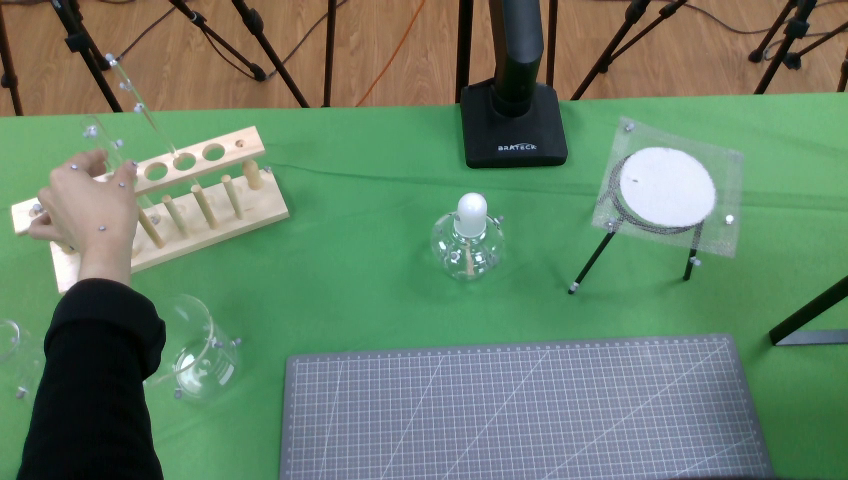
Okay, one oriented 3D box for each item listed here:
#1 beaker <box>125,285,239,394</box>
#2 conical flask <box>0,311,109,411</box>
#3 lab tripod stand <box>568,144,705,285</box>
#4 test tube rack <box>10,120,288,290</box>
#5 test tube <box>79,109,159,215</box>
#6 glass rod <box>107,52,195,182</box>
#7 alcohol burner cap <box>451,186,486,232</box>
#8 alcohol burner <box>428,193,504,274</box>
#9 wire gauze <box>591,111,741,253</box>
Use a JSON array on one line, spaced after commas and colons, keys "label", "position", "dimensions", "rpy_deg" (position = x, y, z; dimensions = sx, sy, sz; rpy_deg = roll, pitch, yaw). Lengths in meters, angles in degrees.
[{"label": "beaker", "position": [-0.216, 0.098, 0.553], "dimensions": [0.074, 0.101, 0.083], "rpy_deg": [11, 63, 6]}, {"label": "conical flask", "position": [-0.341, 0.102, 0.535], "dimensions": [0.075, 0.123, 0.074], "rpy_deg": [0, 62, 0]}, {"label": "lab tripod stand", "position": [0.214, -0.021, 0.605], "dimensions": [0.148, 0.132, 0.147], "rpy_deg": [1, 61, -2]}, {"label": "test tube rack", "position": [-0.275, -0.036, 0.629], "dimensions": [0.242, 0.086, 0.066], "rpy_deg": [-21, 64, -12]}, {"label": "test tube", "position": [-0.292, -0.070, 0.591], "dimensions": [0.017, 0.151, 0.017], "rpy_deg": [0, 59, 0]}, {"label": "glass rod", "position": [-0.253, -0.100, 0.588], "dimensions": [0.008, 0.201, 0.008], "rpy_deg": [-3, 56, 5]}, {"label": "alcohol burner cap", "position": [0.043, -0.032, 0.577], "dimensions": [0.034, 0.048, 0.033], "rpy_deg": [1, 61, -1]}, {"label": "alcohol burner", "position": [0.044, -0.014, 0.609], "dimensions": [0.078, 0.120, 0.077], "rpy_deg": [1, 60, -2]}, {"label": "wire gauze", "position": [0.222, -0.054, 0.546], "dimensions": [0.121, 0.011, 0.124], "rpy_deg": [17, 64, 6]}]
